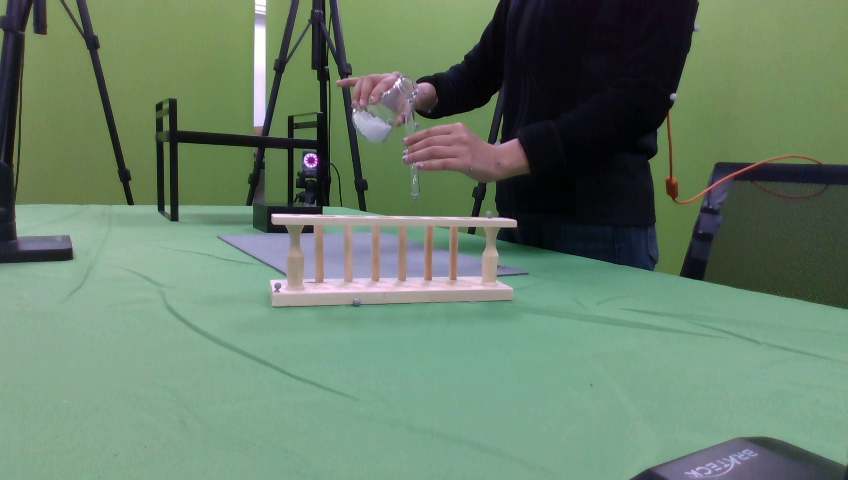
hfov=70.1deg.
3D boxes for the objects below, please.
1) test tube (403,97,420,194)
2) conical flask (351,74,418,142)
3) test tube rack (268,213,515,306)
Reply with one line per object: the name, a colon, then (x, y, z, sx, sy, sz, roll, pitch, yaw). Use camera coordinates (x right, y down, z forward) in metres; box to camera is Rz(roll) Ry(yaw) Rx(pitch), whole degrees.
test tube: (-0.019, -0.144, 0.925, 0.017, 0.150, 0.017, -4, -5, 0)
conical flask: (-0.060, -0.221, 0.990, 0.076, 0.075, 0.121, -5, -21, -42)
test tube rack: (-0.032, 0.015, 0.617, 0.243, 0.085, 0.066, 0, 8, -17)
